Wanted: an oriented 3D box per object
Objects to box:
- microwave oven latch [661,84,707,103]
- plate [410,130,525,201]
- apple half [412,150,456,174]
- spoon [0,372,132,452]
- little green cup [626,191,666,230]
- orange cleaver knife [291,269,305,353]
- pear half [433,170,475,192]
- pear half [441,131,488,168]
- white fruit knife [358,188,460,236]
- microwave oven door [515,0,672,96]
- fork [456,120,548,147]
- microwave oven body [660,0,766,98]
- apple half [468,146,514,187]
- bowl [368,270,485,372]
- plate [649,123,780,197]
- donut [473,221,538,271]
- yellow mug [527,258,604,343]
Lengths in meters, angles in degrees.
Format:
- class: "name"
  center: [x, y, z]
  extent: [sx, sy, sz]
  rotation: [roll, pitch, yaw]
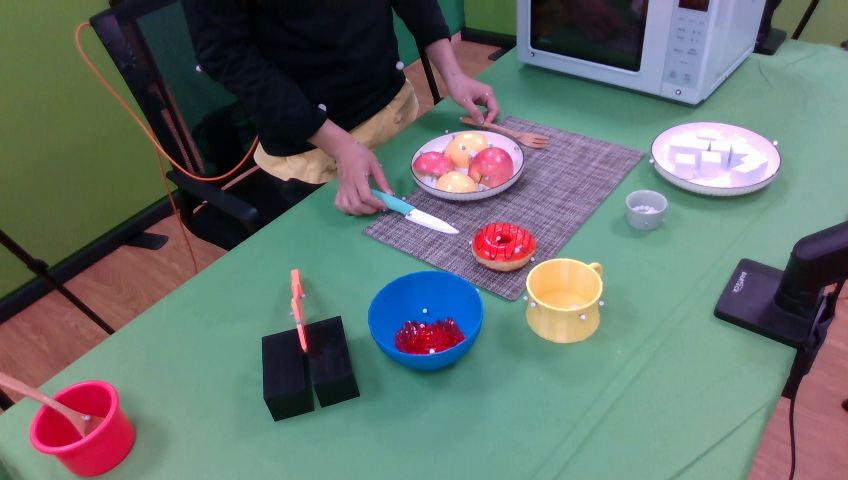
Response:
- class: "microwave oven latch"
  center: [0.517, -0.296, 1.204]
  extent: [0.078, 0.029, 0.030]
  rotation: [27, 52, 35]
- class: "plate"
  center: [0.079, -0.133, 1.101]
  extent: [0.209, 0.038, 0.208]
  rotation: [-4, 40, 4]
- class: "apple half"
  center: [0.022, -0.144, 1.097]
  extent: [0.081, 0.033, 0.081]
  rotation: [7, 22, -2]
- class: "spoon"
  center: [-0.439, 0.195, 0.715]
  extent: [0.195, 0.021, 0.041]
  rotation: [37, 41, -16]
- class: "little green cup"
  center: [0.352, -0.046, 0.963]
  extent: [0.061, 0.039, 0.061]
  rotation: [-4, 40, 4]
- class: "orange cleaver knife"
  center: [-0.175, 0.093, 0.844]
  extent: [0.012, 0.077, 0.210]
  rotation: [-11, 15, -10]
- class: "pear half"
  center: [0.052, -0.105, 1.052]
  extent: [0.071, 0.031, 0.087]
  rotation: [-5, 33, -30]
- class: "pear half"
  center: [0.065, -0.173, 1.129]
  extent: [0.110, 0.056, 0.076]
  rotation: [-8, 36, 6]
- class: "white fruit knife"
  center: [-0.026, -0.048, 1.028]
  extent: [0.206, 0.016, 0.027]
  rotation: [24, 89, 25]
- class: "microwave oven door"
  center: [0.343, -0.454, 1.259]
  extent: [0.353, 0.245, 0.039]
  rotation: [26, 51, 33]
- class: "fork"
  center: [0.150, -0.212, 1.197]
  extent: [0.206, 0.018, 0.028]
  rotation: [25, 34, 28]
- class: "microwave oven body"
  center: [0.472, -0.513, 1.317]
  extent: [0.438, 0.261, 0.327]
  rotation: [26, 51, 34]
- class: "apple half"
  center: [0.119, -0.137, 1.073]
  extent: [0.080, 0.053, 0.075]
  rotation: [25, 49, 38]
- class: "bowl"
  center: [0.007, 0.118, 0.791]
  extent: [0.151, 0.077, 0.150]
  rotation: [-5, 40, 4]
- class: "plate"
  center: [0.497, -0.135, 1.046]
  extent: [0.207, 0.039, 0.206]
  rotation: [-4, 40, 4]
- class: "donut"
  center: [0.123, 0.008, 0.923]
  extent: [0.099, 0.048, 0.098]
  rotation: [-3, 38, 3]
- class: "yellow mug"
  center: [0.201, 0.073, 0.825]
  extent: [0.131, 0.064, 0.099]
  rotation: [-32, 46, -27]
